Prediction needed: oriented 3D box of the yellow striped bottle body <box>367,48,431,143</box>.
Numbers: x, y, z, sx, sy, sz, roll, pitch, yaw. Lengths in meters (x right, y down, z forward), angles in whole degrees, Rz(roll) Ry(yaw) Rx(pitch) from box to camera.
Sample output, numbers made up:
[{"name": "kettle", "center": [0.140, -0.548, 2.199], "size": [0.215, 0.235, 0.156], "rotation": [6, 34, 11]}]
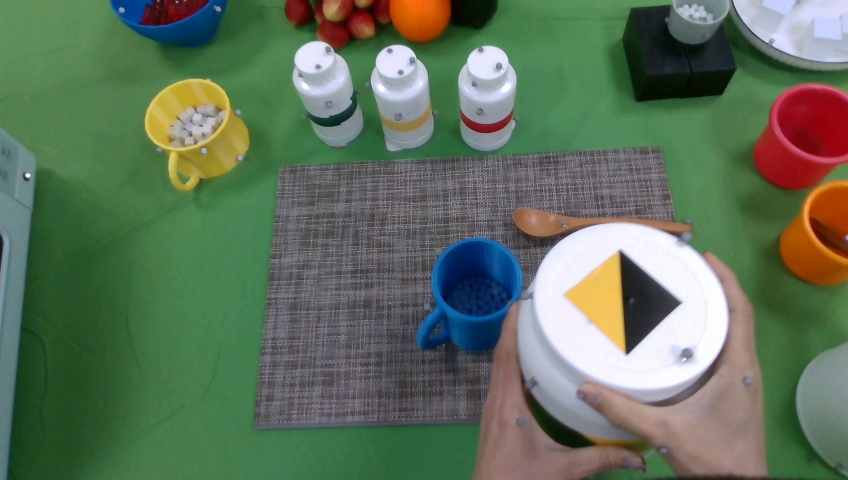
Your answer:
[{"name": "yellow striped bottle body", "center": [-0.028, -0.168, 0.685], "size": [0.063, 0.121, 0.062], "rotation": [-2, 66, 5]}]

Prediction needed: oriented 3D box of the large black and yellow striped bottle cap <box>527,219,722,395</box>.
[{"name": "large black and yellow striped bottle cap", "center": [0.122, 0.038, 0.375], "size": [0.115, 0.019, 0.114], "rotation": [-3, 57, 5]}]

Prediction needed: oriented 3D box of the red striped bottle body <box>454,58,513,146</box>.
[{"name": "red striped bottle body", "center": [0.066, -0.163, 0.676], "size": [0.063, 0.120, 0.062], "rotation": [-2, 66, 4]}]

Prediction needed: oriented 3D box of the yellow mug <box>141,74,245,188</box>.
[{"name": "yellow mug", "center": [-0.275, -0.123, 0.715], "size": [0.100, 0.064, 0.130], "rotation": [7, 68, 7]}]

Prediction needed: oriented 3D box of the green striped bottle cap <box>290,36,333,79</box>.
[{"name": "green striped bottle cap", "center": [-0.120, -0.195, 0.647], "size": [0.044, 0.020, 0.044], "rotation": [-1, 66, 2]}]

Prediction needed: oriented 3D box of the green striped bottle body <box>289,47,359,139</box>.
[{"name": "green striped bottle body", "center": [-0.114, -0.174, 0.694], "size": [0.063, 0.120, 0.062], "rotation": [-1, 67, 4]}]

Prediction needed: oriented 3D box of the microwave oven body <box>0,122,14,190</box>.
[{"name": "microwave oven body", "center": [-0.607, 0.064, 0.551], "size": [0.326, 0.262, 0.438], "rotation": [-11, 67, -1]}]

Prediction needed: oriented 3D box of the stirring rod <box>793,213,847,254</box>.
[{"name": "stirring rod", "center": [0.398, 0.007, 0.569], "size": [0.014, 0.006, 0.175], "rotation": [0, 24, 2]}]

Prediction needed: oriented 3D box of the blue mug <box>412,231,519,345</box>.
[{"name": "blue mug", "center": [0.035, 0.060, 0.588], "size": [0.116, 0.106, 0.081], "rotation": [-38, 69, -11]}]

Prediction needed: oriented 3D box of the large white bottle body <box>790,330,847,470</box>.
[{"name": "large white bottle body", "center": [0.406, 0.122, 0.493], "size": [0.130, 0.186, 0.129], "rotation": [-2, 66, 4]}]

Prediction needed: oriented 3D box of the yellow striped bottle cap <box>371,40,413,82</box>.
[{"name": "yellow striped bottle cap", "center": [-0.033, -0.188, 0.637], "size": [0.044, 0.019, 0.044], "rotation": [0, 64, 0]}]

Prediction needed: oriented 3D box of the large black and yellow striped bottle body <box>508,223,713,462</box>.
[{"name": "large black and yellow striped bottle body", "center": [0.130, 0.080, 0.447], "size": [0.131, 0.185, 0.129], "rotation": [-2, 58, 4]}]

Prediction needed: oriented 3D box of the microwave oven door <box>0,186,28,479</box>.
[{"name": "microwave oven door", "center": [-0.457, 0.073, 0.531], "size": [0.039, 0.245, 0.353], "rotation": [-11, 66, 0]}]

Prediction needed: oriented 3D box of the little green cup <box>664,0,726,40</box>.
[{"name": "little green cup", "center": [0.305, -0.261, 0.688], "size": [0.061, 0.039, 0.061], "rotation": [-1, 65, 3]}]

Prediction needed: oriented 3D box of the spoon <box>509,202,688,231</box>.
[{"name": "spoon", "center": [0.189, -0.023, 0.656], "size": [0.193, 0.022, 0.041], "rotation": [1, 46, 5]}]

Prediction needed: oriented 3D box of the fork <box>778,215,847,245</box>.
[{"name": "fork", "center": [0.427, 0.007, 0.559], "size": [0.028, 0.019, 0.205], "rotation": [-29, 23, -16]}]

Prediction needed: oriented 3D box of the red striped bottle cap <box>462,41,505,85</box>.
[{"name": "red striped bottle cap", "center": [0.062, -0.184, 0.628], "size": [0.044, 0.018, 0.044], "rotation": [0, 65, 1]}]

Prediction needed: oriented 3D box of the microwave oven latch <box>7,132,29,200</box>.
[{"name": "microwave oven latch", "center": [-0.485, -0.085, 0.709], "size": [0.030, 0.030, 0.078], "rotation": [-9, 67, 0]}]

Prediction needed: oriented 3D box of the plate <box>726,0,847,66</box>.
[{"name": "plate", "center": [0.472, -0.295, 0.745], "size": [0.209, 0.038, 0.207], "rotation": [-1, 68, 4]}]

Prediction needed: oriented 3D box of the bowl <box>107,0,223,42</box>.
[{"name": "bowl", "center": [-0.324, -0.316, 0.794], "size": [0.151, 0.077, 0.150], "rotation": [-1, 67, 4]}]
